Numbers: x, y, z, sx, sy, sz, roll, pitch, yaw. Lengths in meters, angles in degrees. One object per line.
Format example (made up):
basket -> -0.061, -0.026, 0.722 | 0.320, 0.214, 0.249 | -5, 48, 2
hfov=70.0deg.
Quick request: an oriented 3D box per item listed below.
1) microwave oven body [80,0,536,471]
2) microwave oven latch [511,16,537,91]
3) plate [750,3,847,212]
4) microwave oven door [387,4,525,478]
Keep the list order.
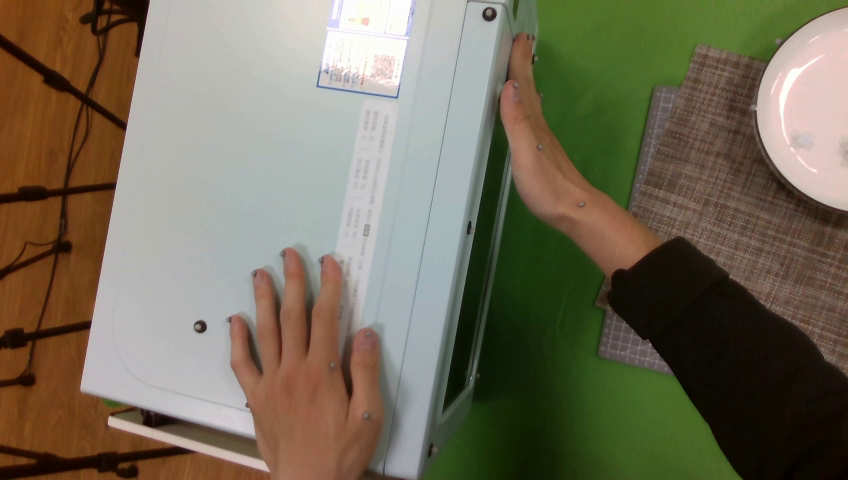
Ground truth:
microwave oven body -> -0.094, -0.060, 0.592 | 0.325, 0.261, 0.441 | 10, 91, 12
microwave oven latch -> 0.103, -0.203, 0.652 | 0.030, 0.029, 0.079 | 10, 91, 13
plate -> 0.429, -0.126, 0.590 | 0.208, 0.038, 0.208 | -1, 87, 13
microwave oven door -> 0.037, 0.006, 0.555 | 0.039, 0.244, 0.355 | 10, 90, 13
